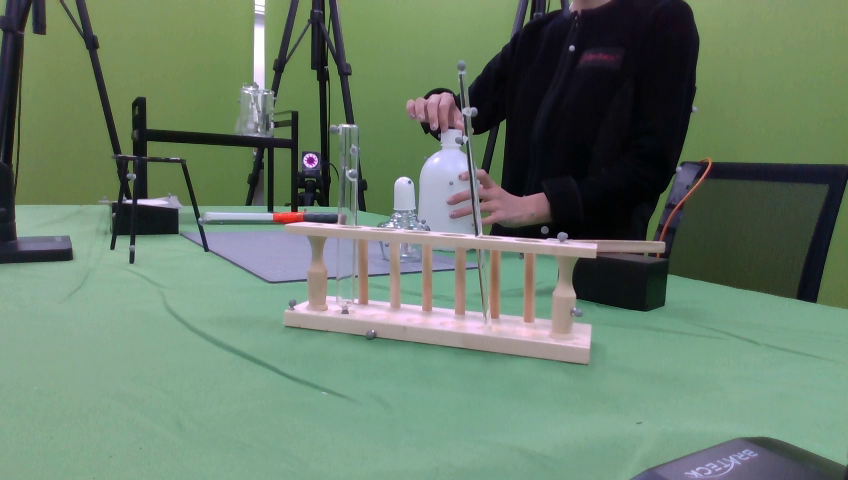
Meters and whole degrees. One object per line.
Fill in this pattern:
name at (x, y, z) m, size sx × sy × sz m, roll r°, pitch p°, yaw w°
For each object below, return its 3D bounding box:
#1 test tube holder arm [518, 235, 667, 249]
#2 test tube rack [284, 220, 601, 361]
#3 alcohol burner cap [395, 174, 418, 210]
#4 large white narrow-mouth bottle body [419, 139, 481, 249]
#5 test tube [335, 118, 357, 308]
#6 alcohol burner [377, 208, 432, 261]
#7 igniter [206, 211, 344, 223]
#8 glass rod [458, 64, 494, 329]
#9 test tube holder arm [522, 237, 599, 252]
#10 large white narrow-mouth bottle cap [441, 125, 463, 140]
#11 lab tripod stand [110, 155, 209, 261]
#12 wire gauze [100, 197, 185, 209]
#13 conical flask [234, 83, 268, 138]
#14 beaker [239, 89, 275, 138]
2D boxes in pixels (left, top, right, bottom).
test tube holder arm at (0.186, 0.003, 0.654) m, size 0.179 × 0.015 × 0.013 m, roll 0°, pitch 13°, yaw -18°
test tube rack at (0.013, 0.032, 0.482) m, size 0.242 × 0.085 × 0.067 m, roll 4°, pitch 7°, yaw 16°
alcohol burner cap at (-0.026, -0.067, 0.833) m, size 0.034 × 0.048 × 0.034 m, roll -1°, pitch 12°, yaw 1°
large white narrow-mouth bottle body at (0.044, -0.086, 0.995) m, size 0.102 × 0.194 × 0.102 m, roll 2°, pitch 8°, yaw 0°
test tube at (-0.061, -0.019, 0.476) m, size 0.017 × 0.150 × 0.017 m, roll 2°, pitch 11°, yaw 0°
alcohol burner at (-0.027, -0.031, 0.838) m, size 0.078 × 0.119 × 0.078 m, roll 0°, pitch 6°, yaw 0°
igniter at (-0.302, -0.048, 1.249) m, size 0.278 × 0.025 × 0.057 m, roll -2°, pitch -2°, yaw -27°
glass rod at (0.039, -0.029, 0.449) m, size 0.008 × 0.199 × 0.008 m, roll -7°, pitch 9°, yaw 1°
test tube holder arm at (0.144, 0.004, 0.635) m, size 0.088 × 0.015 × 0.010 m, roll 0°, pitch 13°, yaw -19°
large white narrow-mouth bottle cap at (0.045, -0.174, 0.983) m, size 0.038 × 0.024 × 0.037 m, roll 2°, pitch 8°, yaw 0°
lab tripod stand at (-0.361, -0.046, 0.806) m, size 0.148 × 0.131 × 0.148 m, roll 2°, pitch 5°, yaw 0°
wire gauze at (-0.469, -0.062, 1.008) m, size 0.126 × 0.011 × 0.121 m, roll -2°, pitch 8°, yaw -25°
conical flask at (-0.399, -0.298, 1.396) m, size 0.075 × 0.122 × 0.075 m, roll 2°, pitch 8°, yaw 0°
beaker at (-0.361, -0.273, 1.307) m, size 0.074 × 0.100 × 0.084 m, roll 0°, pitch 8°, yaw -11°
